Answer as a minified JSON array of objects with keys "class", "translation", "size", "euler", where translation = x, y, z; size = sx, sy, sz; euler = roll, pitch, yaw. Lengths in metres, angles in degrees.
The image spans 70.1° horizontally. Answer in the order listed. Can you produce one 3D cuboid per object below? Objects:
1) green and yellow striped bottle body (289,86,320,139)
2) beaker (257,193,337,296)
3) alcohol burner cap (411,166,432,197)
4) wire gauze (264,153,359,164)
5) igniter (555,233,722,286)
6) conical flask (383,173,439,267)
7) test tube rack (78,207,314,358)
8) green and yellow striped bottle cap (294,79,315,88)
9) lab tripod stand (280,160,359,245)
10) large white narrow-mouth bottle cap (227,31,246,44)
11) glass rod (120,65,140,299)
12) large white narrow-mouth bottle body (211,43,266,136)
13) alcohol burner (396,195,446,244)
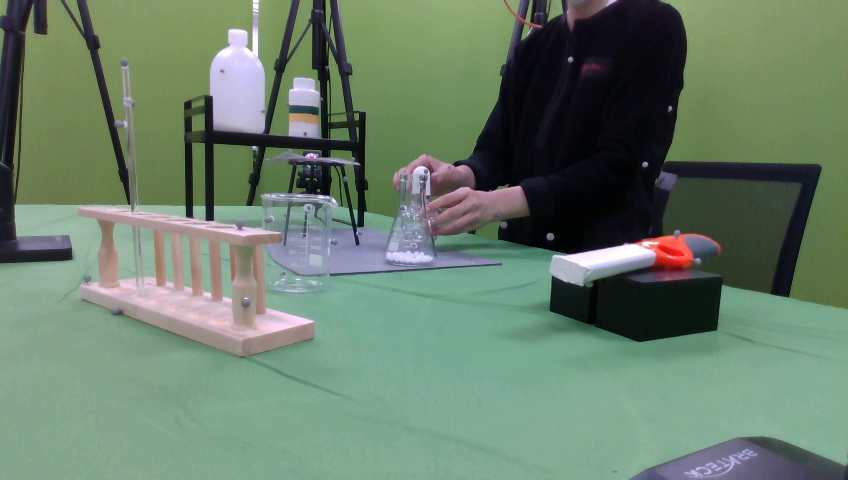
[{"class":"green and yellow striped bottle body","translation":[-0.250,-0.272,1.261],"size":[0.063,0.119,0.063],"euler":[3,7,0]},{"class":"beaker","translation":[-0.130,0.003,0.628],"size":[0.084,0.100,0.074],"euler":[5,8,15]},{"class":"alcohol burner cap","translation":[-0.004,-0.091,0.934],"size":[0.034,0.048,0.034],"euler":[-1,3,0]},{"class":"wire gauze","translation":[-0.181,-0.130,0.969],"size":[0.126,0.011,0.121],"euler":[-1,7,-27]},{"class":"igniter","translation":[0.214,0.015,0.570],"size":[0.278,0.025,0.057],"euler":[-6,22,-45]},{"class":"conical flask","translation":[-0.016,-0.028,0.808],"size":[0.075,0.122,0.075],"euler":[2,8,0]},{"class":"test tube rack","translation":[-0.196,0.024,0.500],"size":[0.241,0.085,0.067],"euler":[8,8,37]},{"class":"green and yellow striped bottle cap","translation":[-0.248,-0.323,1.256],"size":[0.045,0.020,0.045],"euler":[3,9,0]},{"class":"lab tripod stand","translation":[-0.176,-0.062,0.973],"size":[0.148,0.131,0.148],"euler":[1,7,0]},{"class":"large white narrow-mouth bottle cap","translation":[-0.361,-0.389,1.165],"size":[0.038,0.024,0.037],"euler":[1,7,0]},{"class":"glass rod","translation":[-0.249,-0.047,0.513],"size":[0.008,0.199,0.008],"euler":[-1,4,0]},{"class":"large white narrow-mouth bottle body","translation":[-0.361,-0.302,1.176],"size":[0.102,0.194,0.102],"euler":[1,7,0]},{"class":"alcohol burner","translation":[-0.005,-0.055,0.941],"size":[0.078,0.119,0.078],"euler":[1,10,0]}]
